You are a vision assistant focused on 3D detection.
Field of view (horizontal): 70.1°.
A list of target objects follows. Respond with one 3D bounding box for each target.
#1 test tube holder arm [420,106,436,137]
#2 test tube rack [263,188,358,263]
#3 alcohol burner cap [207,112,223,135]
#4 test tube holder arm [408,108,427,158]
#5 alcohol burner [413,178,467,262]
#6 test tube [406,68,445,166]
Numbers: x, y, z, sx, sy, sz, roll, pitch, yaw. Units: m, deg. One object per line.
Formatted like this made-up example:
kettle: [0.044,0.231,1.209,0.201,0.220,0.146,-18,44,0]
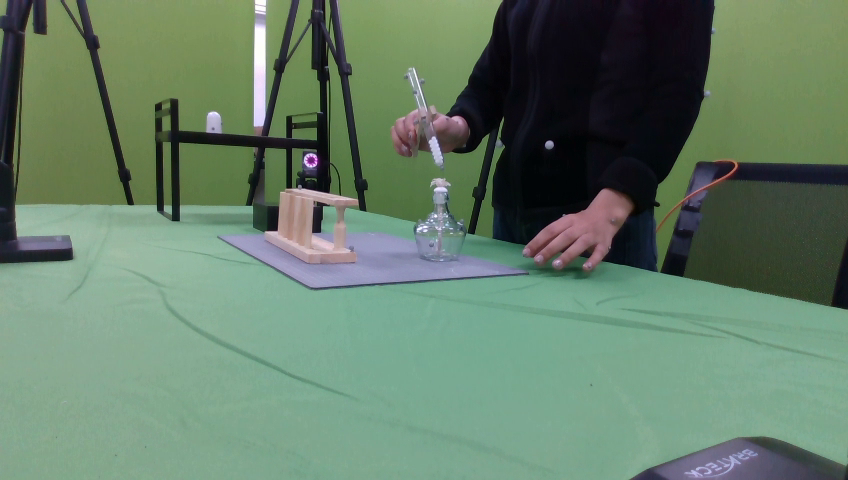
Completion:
test tube holder arm: [0.002,-0.172,0.888,0.010,0.015,0.087,-10,-10,-16]
test tube rack: [-0.174,-0.028,0.890,0.067,0.085,0.241,0,8,-28]
alcohol burner cap: [-0.440,-0.245,1.271,0.034,0.048,0.034,2,7,0]
test tube holder arm: [-0.011,-0.162,0.930,0.013,0.015,0.178,-10,-10,-10]
alcohol burner: [0.023,-0.029,0.864,0.078,0.119,0.078,1,6,0]
test tube: [0.002,-0.177,0.865,0.017,0.150,0.017,-17,-9,-2]
